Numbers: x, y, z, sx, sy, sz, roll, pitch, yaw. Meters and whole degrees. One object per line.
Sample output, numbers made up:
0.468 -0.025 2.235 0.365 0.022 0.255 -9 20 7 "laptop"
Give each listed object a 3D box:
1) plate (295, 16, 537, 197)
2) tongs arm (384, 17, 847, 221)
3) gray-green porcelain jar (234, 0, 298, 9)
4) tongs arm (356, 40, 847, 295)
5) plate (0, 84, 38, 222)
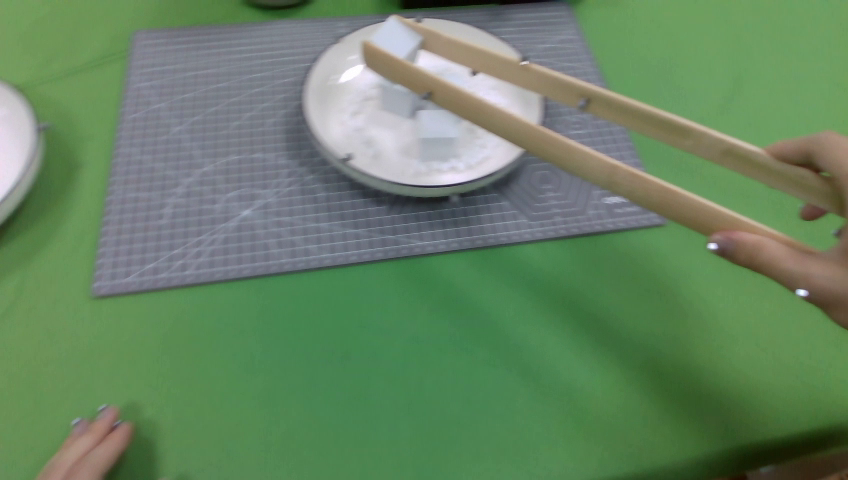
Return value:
-0.007 -0.118 0.535 0.209 0.038 0.207 2 57 -2 "plate"
0.120 -0.074 0.402 0.382 0.027 0.050 25 60 20 "tongs arm"
-0.164 -0.307 0.601 0.106 0.127 0.105 1 56 -2 "gray-green porcelain jar"
0.106 -0.057 0.392 0.385 0.028 0.028 29 57 22 "tongs arm"
-0.408 -0.048 0.470 0.208 0.039 0.205 2 57 -2 "plate"
